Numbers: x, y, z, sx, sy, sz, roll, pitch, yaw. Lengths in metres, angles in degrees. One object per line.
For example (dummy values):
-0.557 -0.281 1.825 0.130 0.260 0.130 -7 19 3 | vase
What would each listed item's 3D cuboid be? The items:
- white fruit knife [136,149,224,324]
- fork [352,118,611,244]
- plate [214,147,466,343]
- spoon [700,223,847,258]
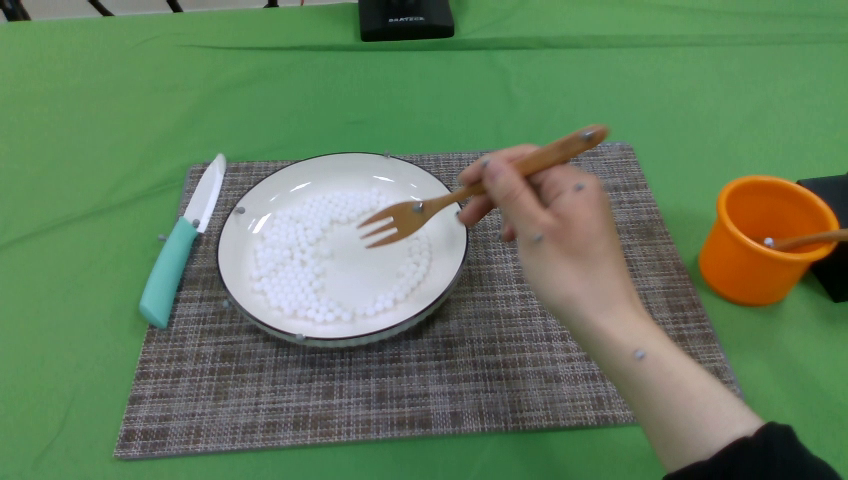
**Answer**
-0.214 -0.015 0.545 0.027 0.016 0.205 22 45 -19 | white fruit knife
0.027 -0.036 0.406 0.019 0.207 0.028 -19 88 -52 | fork
-0.068 0.001 0.517 0.209 0.038 0.207 0 49 0 | plate
0.300 -0.003 0.457 0.041 0.193 0.022 -31 100 -28 | spoon
